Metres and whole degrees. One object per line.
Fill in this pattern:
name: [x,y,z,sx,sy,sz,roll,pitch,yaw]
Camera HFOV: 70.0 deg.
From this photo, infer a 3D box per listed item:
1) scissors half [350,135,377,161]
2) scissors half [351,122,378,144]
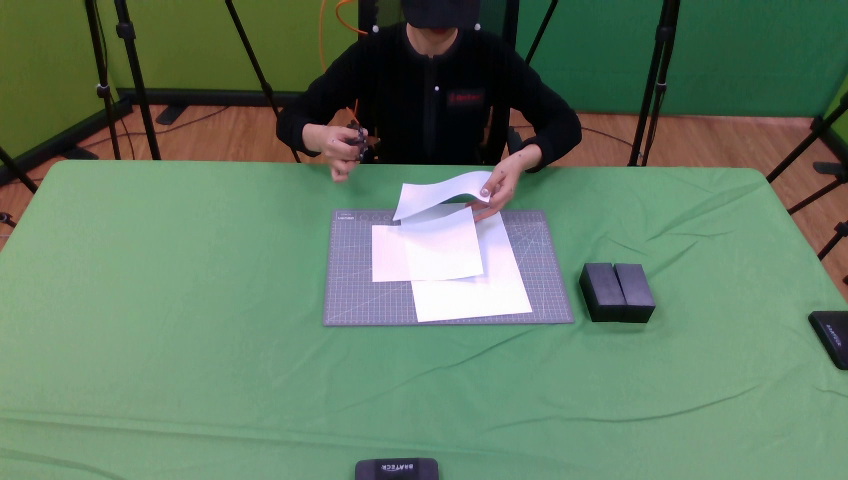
scissors half: [-0.114,-0.179,1.152,0.013,0.175,0.040,1,87,-21]
scissors half: [-0.114,-0.200,1.150,0.013,0.040,0.174,-5,16,-21]
